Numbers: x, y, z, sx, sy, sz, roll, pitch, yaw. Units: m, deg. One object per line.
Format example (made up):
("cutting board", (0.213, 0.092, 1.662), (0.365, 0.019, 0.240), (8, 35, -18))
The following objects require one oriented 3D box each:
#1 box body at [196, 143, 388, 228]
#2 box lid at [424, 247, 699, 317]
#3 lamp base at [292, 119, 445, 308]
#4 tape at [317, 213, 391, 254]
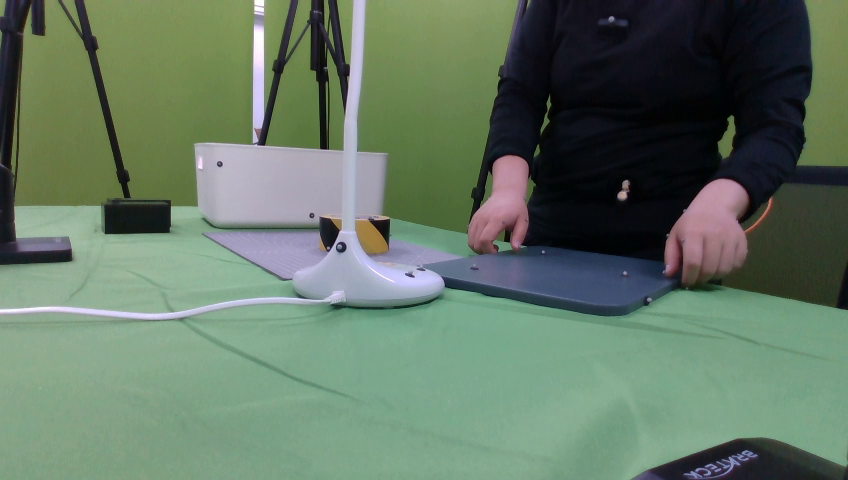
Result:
("box body", (-0.286, -0.118, 1.291), (0.366, 0.160, 0.253), (-1, 8, -27))
("box lid", (0.184, 0.044, 0.788), (0.262, 0.015, 0.373), (8, 9, 35))
("lamp base", (-0.056, -0.030, 0.616), (0.160, 0.180, 0.179), (3, 10, 8))
("tape", (-0.109, -0.012, 0.938), (0.117, 0.052, 0.117), (2, 7, 0))
